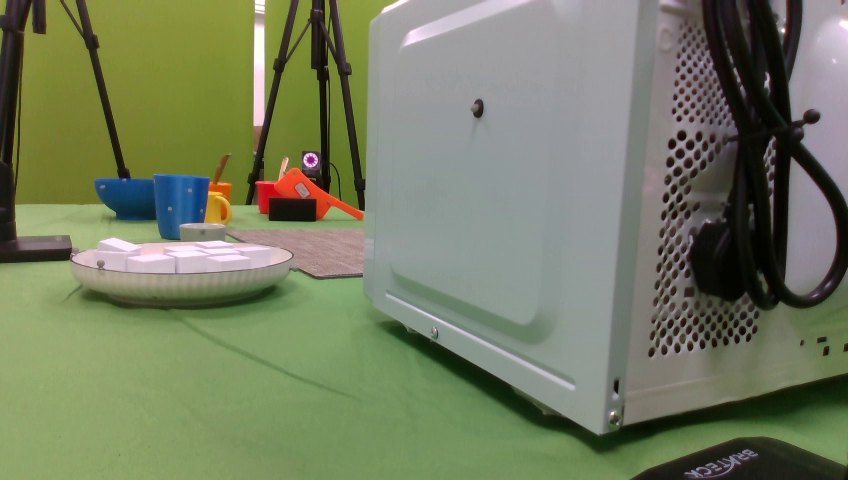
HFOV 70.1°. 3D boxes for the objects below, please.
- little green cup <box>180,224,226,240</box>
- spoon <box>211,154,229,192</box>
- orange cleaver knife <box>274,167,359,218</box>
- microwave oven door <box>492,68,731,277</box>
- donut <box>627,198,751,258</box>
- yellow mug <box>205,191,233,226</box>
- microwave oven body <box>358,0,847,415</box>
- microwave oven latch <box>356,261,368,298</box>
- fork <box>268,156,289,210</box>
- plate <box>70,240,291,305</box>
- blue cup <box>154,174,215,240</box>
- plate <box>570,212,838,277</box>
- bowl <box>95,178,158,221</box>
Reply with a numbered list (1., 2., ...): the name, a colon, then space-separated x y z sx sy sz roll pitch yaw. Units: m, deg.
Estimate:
1. little green cup: -0.309 -0.001 0.846 0.061 0.038 0.061 2 8 0
2. spoon: -0.431 -0.115 1.253 0.042 0.193 0.021 -3 53 -33
3. orange cleaver knife: -0.238 -0.091 1.381 0.212 0.077 0.012 31 0 -19
4. microwave oven door: 0.232 -0.097 0.836 0.039 0.243 0.354 -3 9 -36
5. donut: 0.225 -0.010 0.519 0.099 0.048 0.099 4 8 0
6. yellow mug: -0.415 -0.057 1.132 0.130 0.064 0.100 6 8 16
7. microwave oven body: 0.211 -0.047 0.475 0.444 0.260 0.324 -1 7 -28
8. microwave oven latch: -0.020 0.033 0.530 0.079 0.029 0.030 0 7 -26
9. fork: -0.360 -0.144 1.508 0.028 0.018 0.207 1 49 1
10. plate: -0.242 0.031 0.618 0.208 0.039 0.207 2 8 0
11. blue cup: -0.391 -0.053 0.978 0.093 0.100 0.092 4 6 0
12. plate: 0.230 0.001 0.519 0.209 0.038 0.209 2 7 0
13. bowl: -0.576 -0.081 1.217 0.151 0.077 0.151 3 8 0
